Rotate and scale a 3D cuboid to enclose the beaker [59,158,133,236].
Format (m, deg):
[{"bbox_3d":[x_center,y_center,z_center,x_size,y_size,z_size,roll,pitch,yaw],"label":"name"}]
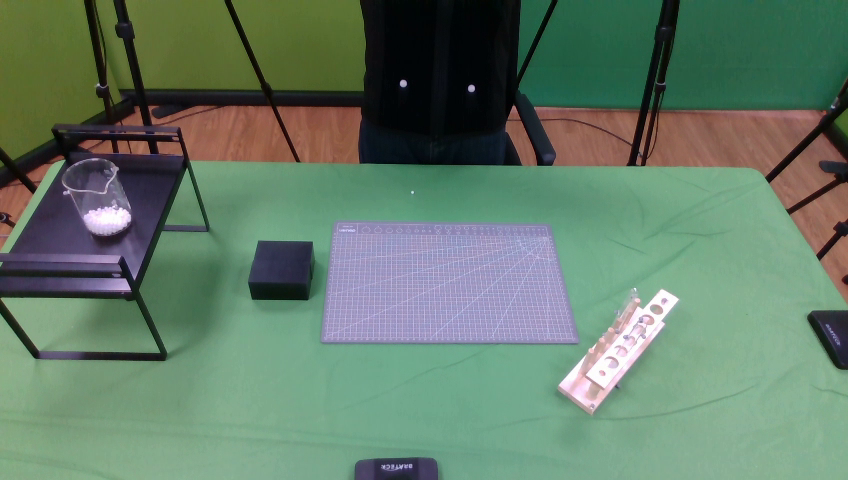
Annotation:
[{"bbox_3d":[-0.488,-0.060,0.915,0.074,0.101,0.083,-35,58,-31],"label":"beaker"}]

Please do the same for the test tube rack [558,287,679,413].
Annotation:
[{"bbox_3d":[0.326,0.170,1.009,0.066,0.085,0.242,36,54,27],"label":"test tube rack"}]

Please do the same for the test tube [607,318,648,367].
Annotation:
[{"bbox_3d":[0.311,0.169,0.940,0.017,0.151,0.017,5,48,-5],"label":"test tube"}]

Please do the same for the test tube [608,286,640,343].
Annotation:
[{"bbox_3d":[0.324,0.123,0.992,0.017,0.151,0.017,2,49,-2],"label":"test tube"}]
